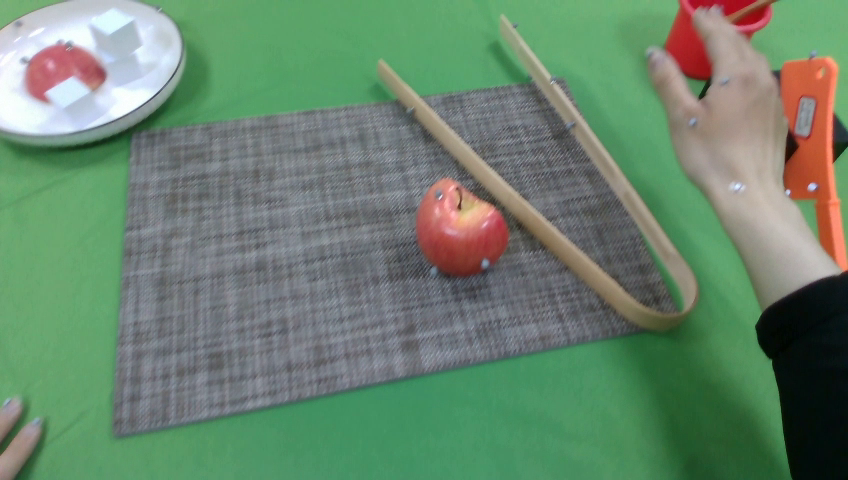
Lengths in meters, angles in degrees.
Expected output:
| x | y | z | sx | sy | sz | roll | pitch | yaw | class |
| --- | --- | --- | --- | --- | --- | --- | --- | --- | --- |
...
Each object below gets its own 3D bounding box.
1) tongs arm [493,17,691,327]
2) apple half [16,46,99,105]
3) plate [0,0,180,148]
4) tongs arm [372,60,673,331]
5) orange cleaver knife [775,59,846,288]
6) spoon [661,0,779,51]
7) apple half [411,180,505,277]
| x | y | z | sx | sy | sz | roll | pitch | yaw | class |
| --- | --- | --- | --- | --- | --- | --- | --- | --- | --- |
| 0.140 | -0.088 | 0.587 | 0.051 | 0.027 | 0.381 | -20 | 60 | -16 | tongs arm |
| -0.374 | -0.173 | 0.612 | 0.081 | 0.033 | 0.080 | 0 | 54 | 1 | apple half |
| -0.352 | -0.167 | 0.616 | 0.209 | 0.038 | 0.207 | 1 | 56 | -2 | plate |
| 0.068 | -0.055 | 0.564 | 0.028 | 0.028 | 0.384 | -31 | 63 | -25 | tongs arm |
| 0.347 | -0.062 | 0.548 | 0.012 | 0.077 | 0.211 | -4 | 89 | -6 | orange cleaver knife |
| 0.347 | -0.242 | 0.634 | 0.022 | 0.193 | 0.041 | 46 | 48 | -27 | spoon |
| 0.020 | -0.001 | 0.498 | 0.080 | 0.075 | 0.053 | 37 | 66 | 16 | apple half |
